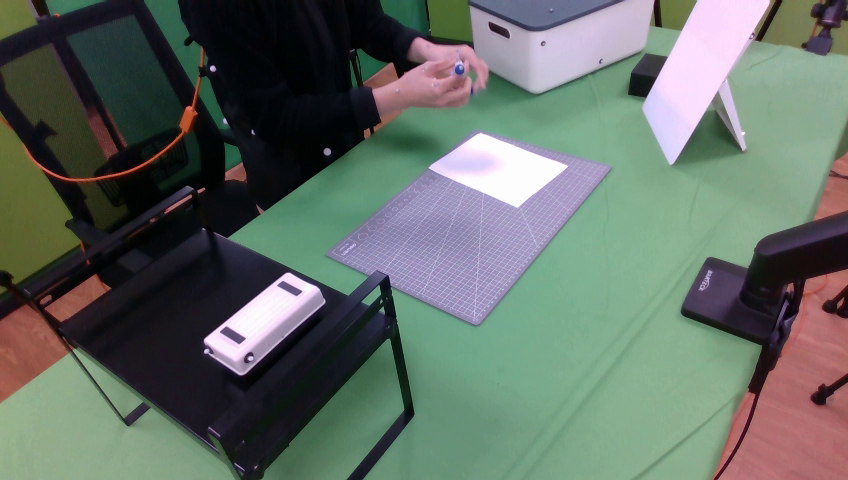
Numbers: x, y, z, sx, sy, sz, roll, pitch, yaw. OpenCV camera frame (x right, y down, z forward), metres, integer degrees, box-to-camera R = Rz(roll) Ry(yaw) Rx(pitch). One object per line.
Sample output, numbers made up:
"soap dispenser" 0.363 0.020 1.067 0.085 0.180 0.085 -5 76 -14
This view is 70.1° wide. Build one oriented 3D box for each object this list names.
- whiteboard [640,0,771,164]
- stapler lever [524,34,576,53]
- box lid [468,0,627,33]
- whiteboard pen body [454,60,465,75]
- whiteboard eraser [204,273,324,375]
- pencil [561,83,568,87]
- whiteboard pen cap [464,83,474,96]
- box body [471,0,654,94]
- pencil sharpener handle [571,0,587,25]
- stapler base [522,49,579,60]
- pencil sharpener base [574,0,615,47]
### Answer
"whiteboard" 0.543 -0.299 1.076 0.144 0.305 0.216 12 40 -7
"stapler lever" 0.297 -0.463 1.424 0.117 0.040 0.027 5 22 17
"box lid" 0.312 -0.554 1.358 0.373 0.015 0.261 -26 44 -20
"whiteboard pen body" 0.056 -0.277 0.964 0.017 0.017 0.140 -4 20 4
"whiteboard eraser" -0.157 0.084 0.605 0.055 0.042 0.113 24 49 30
"pencil" 0.248 -0.393 1.398 0.193 0.012 0.012 31 53 24
"whiteboard pen cap" 0.084 -0.277 1.112 0.018 0.018 0.033 -6 30 2
"box body" 0.319 -0.498 1.405 0.365 0.161 0.252 -26 43 -21
"pencil sharpener handle" 0.378 -0.568 1.493 0.036 0.068 0.030 -32 45 -26
"stapler base" 0.300 -0.441 1.433 0.130 0.024 0.041 3 22 18
"pencil sharpener base" 0.411 -0.536 1.469 0.061 0.107 0.076 -31 45 -26
